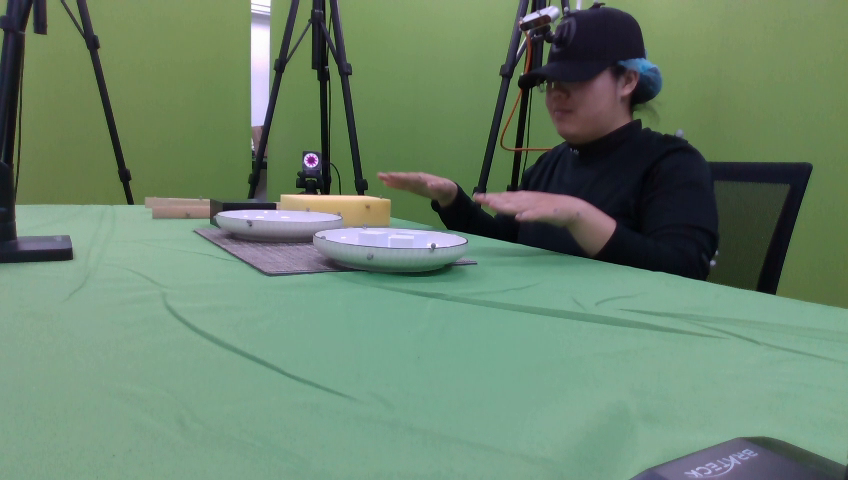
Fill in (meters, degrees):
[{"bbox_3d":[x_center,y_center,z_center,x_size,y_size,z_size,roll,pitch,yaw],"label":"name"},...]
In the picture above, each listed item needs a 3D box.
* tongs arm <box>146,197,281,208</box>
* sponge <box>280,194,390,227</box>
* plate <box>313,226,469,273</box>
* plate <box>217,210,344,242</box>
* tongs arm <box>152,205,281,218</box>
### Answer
[{"bbox_3d":[-0.437,-0.079,1.415,0.387,0.026,0.050,1,8,-25],"label":"tongs arm"},{"bbox_3d":[-0.188,-0.064,1.291,0.208,0.061,0.117,-2,9,-35],"label":"sponge"},{"bbox_3d":[-0.044,0.012,0.807,0.209,0.038,0.209,2,7,0],"label":"plate"},{"bbox_3d":[-0.241,-0.024,1.026,0.208,0.039,0.207,3,7,0],"label":"plate"},{"bbox_3d":[-0.397,-0.064,1.345,0.390,0.028,0.028,-3,6,-38],"label":"tongs arm"}]
